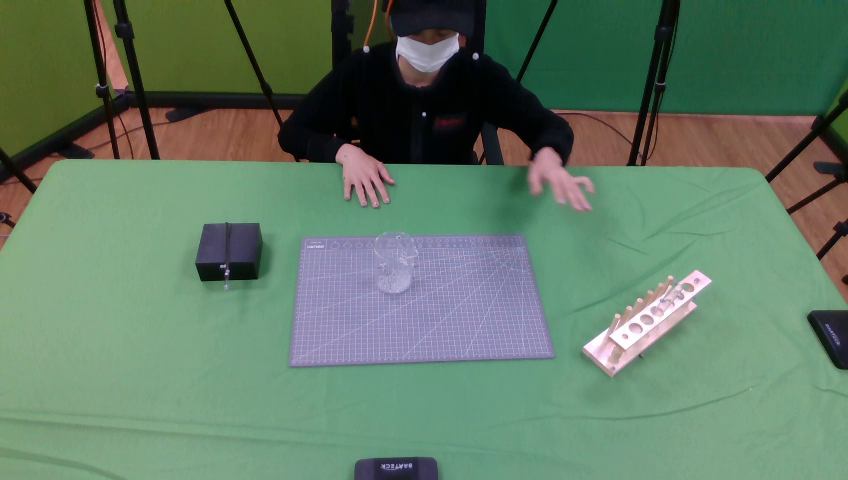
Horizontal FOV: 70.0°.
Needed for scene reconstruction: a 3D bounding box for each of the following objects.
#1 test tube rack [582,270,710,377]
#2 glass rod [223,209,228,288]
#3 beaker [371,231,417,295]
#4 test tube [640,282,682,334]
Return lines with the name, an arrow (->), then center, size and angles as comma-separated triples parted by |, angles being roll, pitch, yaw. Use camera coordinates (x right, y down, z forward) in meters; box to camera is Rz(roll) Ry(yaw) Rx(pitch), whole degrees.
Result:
test tube rack -> 0.389, 0.132, 1.057 | 0.242, 0.085, 0.066 | -28, 54, -28
glass rod -> -0.360, 0.010, 1.098 | 0.008, 0.008, 0.198 | -7, 47, -12
beaker -> -0.054, 0.045, 1.093 | 0.084, 0.101, 0.073 | 17, 47, 10
test tube -> 0.389, 0.116, 1.002 | 0.017, 0.151, 0.017 | 2, 53, -3
